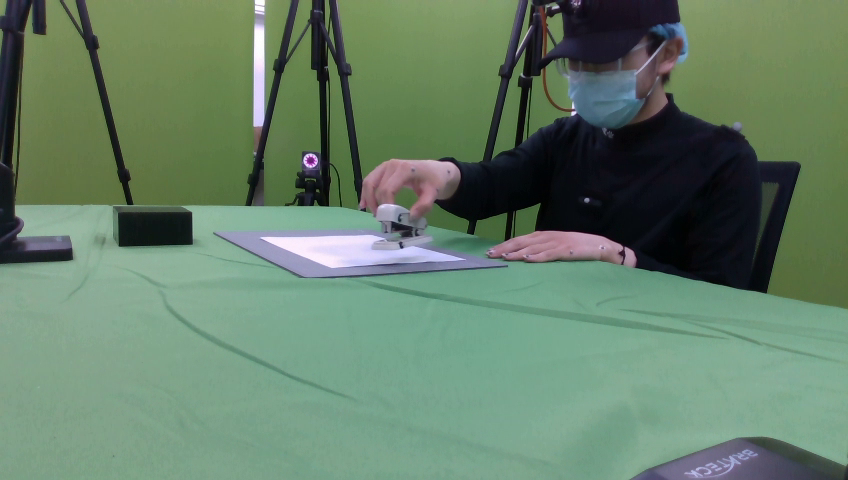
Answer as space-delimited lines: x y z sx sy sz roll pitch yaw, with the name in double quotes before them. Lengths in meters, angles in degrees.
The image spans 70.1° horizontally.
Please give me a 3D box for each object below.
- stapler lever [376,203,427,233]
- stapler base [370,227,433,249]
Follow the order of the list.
"stapler lever" -0.030 -0.031 0.828 0.027 0.040 0.118 3 5 23
"stapler base" -0.030 -0.005 0.828 0.041 0.024 0.131 3 5 23
